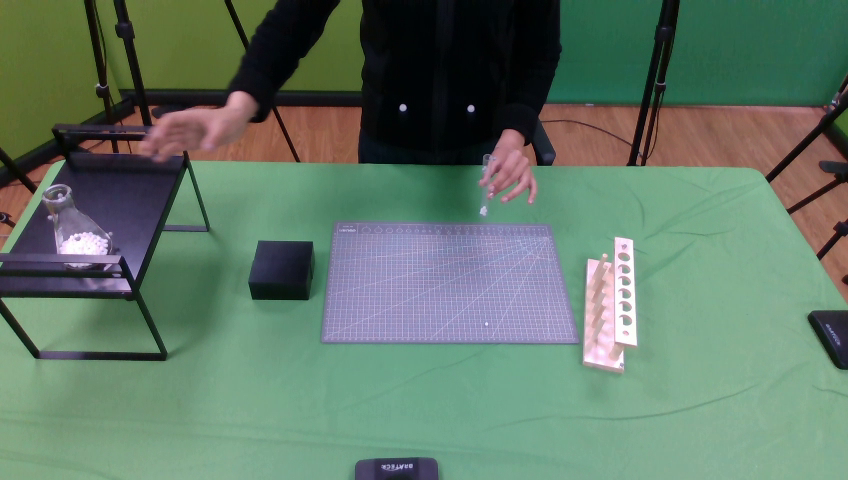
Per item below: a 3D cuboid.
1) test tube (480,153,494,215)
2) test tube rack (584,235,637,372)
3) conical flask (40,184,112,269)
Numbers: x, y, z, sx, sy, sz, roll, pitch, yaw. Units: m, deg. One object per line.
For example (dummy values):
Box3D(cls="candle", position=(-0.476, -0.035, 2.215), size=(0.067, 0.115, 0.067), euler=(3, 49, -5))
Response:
Box3D(cls="test tube", position=(0.110, -0.096, 1.070), size=(0.017, 0.151, 0.017), euler=(-1, 52, 1))
Box3D(cls="test tube rack", position=(0.329, 0.103, 1.073), size=(0.067, 0.085, 0.241), euler=(11, 47, 7))
Box3D(cls="conical flask", position=(-0.501, -0.022, 0.861), size=(0.075, 0.122, 0.075), euler=(2, 46, -1))
